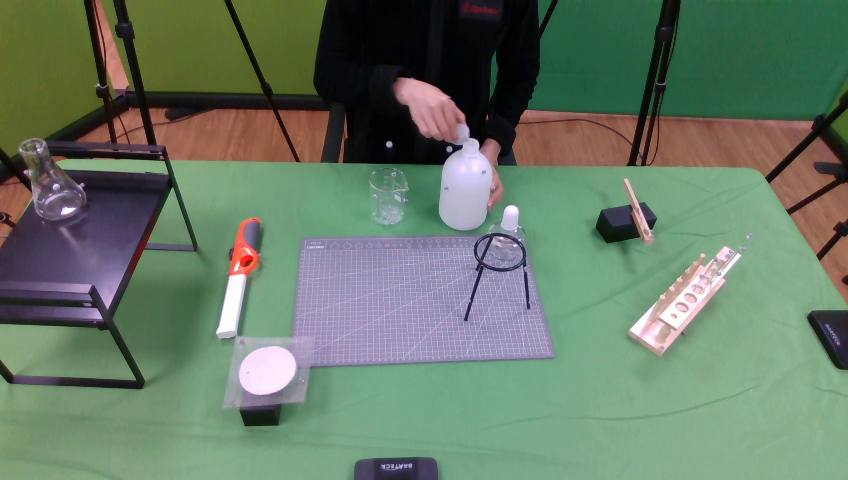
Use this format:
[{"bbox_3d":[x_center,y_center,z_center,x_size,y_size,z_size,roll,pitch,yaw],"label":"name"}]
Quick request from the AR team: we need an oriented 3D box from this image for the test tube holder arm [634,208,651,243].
[{"bbox_3d":[0.428,-0.030,1.189,0.010,0.015,0.087,1,47,-2],"label":"test tube holder arm"}]

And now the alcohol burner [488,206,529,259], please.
[{"bbox_3d":[0.163,-0.020,1.158,0.078,0.120,0.077,0,47,0],"label":"alcohol burner"}]

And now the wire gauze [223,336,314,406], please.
[{"bbox_3d":[-0.237,0.197,0.931,0.121,0.011,0.124,1,45,-4],"label":"wire gauze"}]

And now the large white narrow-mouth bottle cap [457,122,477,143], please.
[{"bbox_3d":[0.080,-0.197,1.108,0.038,0.024,0.037,3,46,-3],"label":"large white narrow-mouth bottle cap"}]

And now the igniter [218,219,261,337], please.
[{"bbox_3d":[-0.336,0.060,1.111,0.057,0.025,0.274,-8,46,4],"label":"igniter"}]

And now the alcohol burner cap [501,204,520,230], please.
[{"bbox_3d":[0.164,-0.046,1.133,0.034,0.048,0.033,2,40,-2],"label":"alcohol burner cap"}]

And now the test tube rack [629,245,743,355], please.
[{"bbox_3d":[0.474,0.095,1.091,0.242,0.085,0.066,-34,56,-31],"label":"test tube rack"}]

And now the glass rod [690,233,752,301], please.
[{"bbox_3d":[0.507,0.053,1.041,0.008,0.200,0.008,5,51,-6],"label":"glass rod"}]

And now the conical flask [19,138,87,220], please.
[{"bbox_3d":[-0.576,-0.097,0.930,0.075,0.122,0.075,2,46,-2],"label":"conical flask"}]

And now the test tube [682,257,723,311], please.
[{"bbox_3d":[0.475,0.080,1.037,0.017,0.151,0.017,1,51,-1],"label":"test tube"}]

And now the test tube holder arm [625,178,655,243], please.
[{"bbox_3d":[0.433,-0.062,1.220,0.013,0.015,0.177,1,47,-3],"label":"test tube holder arm"}]

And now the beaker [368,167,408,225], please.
[{"bbox_3d":[-0.070,-0.085,1.220,0.084,0.101,0.074,21,49,15],"label":"beaker"}]

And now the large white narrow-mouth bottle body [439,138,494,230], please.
[{"bbox_3d":[0.085,-0.118,1.196,0.102,0.195,0.101,2,46,-2],"label":"large white narrow-mouth bottle body"}]

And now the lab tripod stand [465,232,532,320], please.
[{"bbox_3d":[0.125,0.059,1.065,0.148,0.132,0.147,1,45,0],"label":"lab tripod stand"}]
